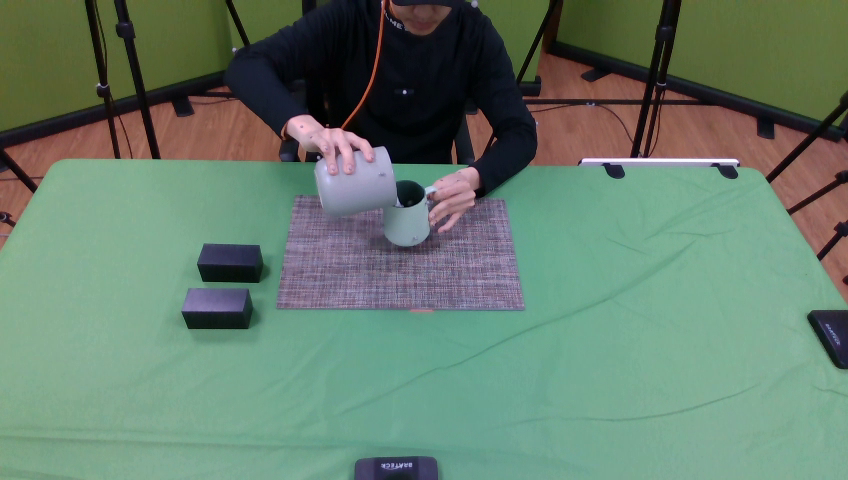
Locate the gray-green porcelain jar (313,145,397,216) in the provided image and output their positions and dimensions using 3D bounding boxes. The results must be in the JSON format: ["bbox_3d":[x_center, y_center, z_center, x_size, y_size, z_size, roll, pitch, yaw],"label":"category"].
[{"bbox_3d":[-0.121,-0.101,1.048,0.126,0.106,0.105,-13,48,-11],"label":"gray-green porcelain jar"}]

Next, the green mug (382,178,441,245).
[{"bbox_3d":[-0.021,-0.059,1.149,0.125,0.105,0.092,-30,53,-24],"label":"green mug"}]
